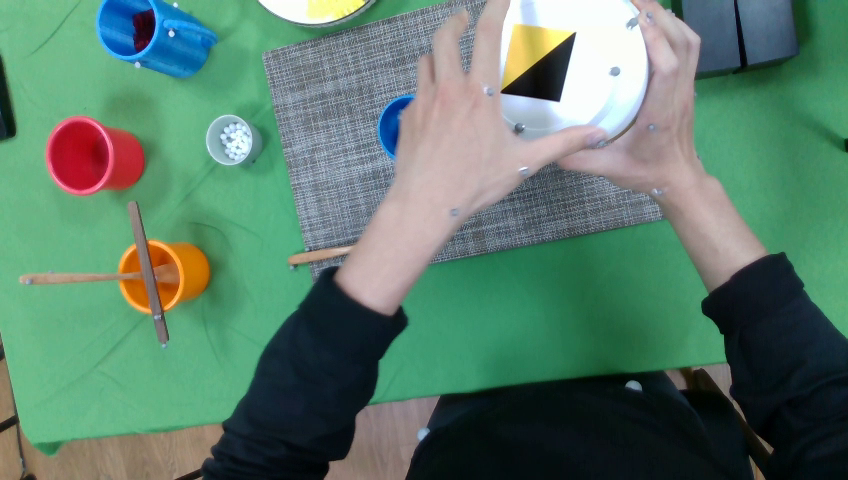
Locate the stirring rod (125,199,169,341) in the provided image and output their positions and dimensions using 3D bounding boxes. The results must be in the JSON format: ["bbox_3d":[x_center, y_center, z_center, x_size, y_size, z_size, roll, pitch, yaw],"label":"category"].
[{"bbox_3d":[-0.337,0.037,0.737,0.014,0.006,0.176,-12,93,12],"label":"stirring rod"}]

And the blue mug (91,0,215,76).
[{"bbox_3d":[-0.314,-0.250,0.732,0.116,0.106,0.082,2,95,10],"label":"blue mug"}]

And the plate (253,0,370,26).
[{"bbox_3d":[-0.130,-0.360,0.722,0.209,0.038,0.209,1,96,10],"label":"plate"}]

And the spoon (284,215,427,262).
[{"bbox_3d":[-0.088,0.004,0.751,0.193,0.021,0.042,-13,114,12],"label":"spoon"}]

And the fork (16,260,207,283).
[{"bbox_3d":[-0.378,0.042,0.748,0.208,0.018,0.028,-1,103,-33],"label":"fork"}]

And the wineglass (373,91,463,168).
[{"bbox_3d":[-0.001,-0.113,0.647,0.073,0.172,0.074,1,94,11],"label":"wineglass"}]

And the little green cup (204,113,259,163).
[{"bbox_3d":[-0.240,-0.127,0.763,0.061,0.038,0.061,1,96,11],"label":"little green cup"}]

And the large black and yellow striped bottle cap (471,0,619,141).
[{"bbox_3d":[0.087,-0.132,0.454,0.114,0.019,0.115,9,107,32],"label":"large black and yellow striped bottle cap"}]

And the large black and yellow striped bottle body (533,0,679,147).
[{"bbox_3d":[0.135,-0.150,0.522,0.130,0.184,0.131,10,108,32],"label":"large black and yellow striped bottle body"}]
